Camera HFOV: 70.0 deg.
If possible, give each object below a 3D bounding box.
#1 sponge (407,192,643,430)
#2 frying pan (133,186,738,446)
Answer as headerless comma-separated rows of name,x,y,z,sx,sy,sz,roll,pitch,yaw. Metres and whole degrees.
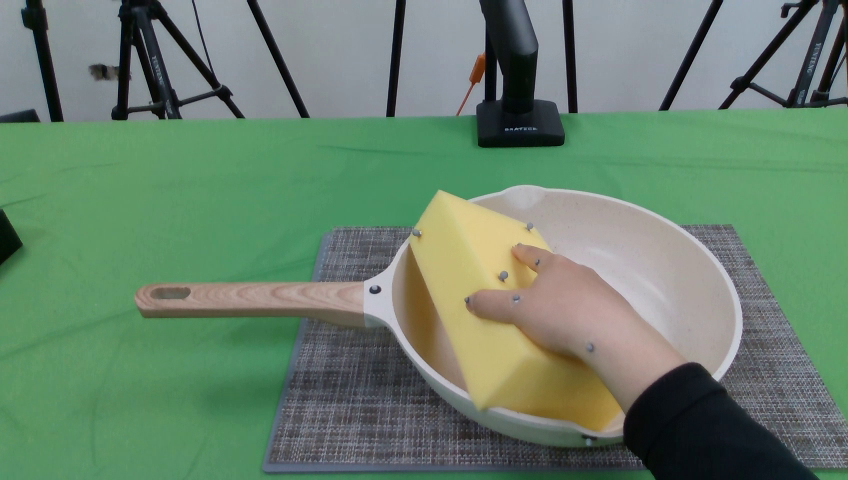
sponge,0.073,0.054,0.508,0.119,0.061,0.204,18,28,-31
frying pan,0.008,0.054,0.522,0.489,0.103,0.303,3,37,-6
